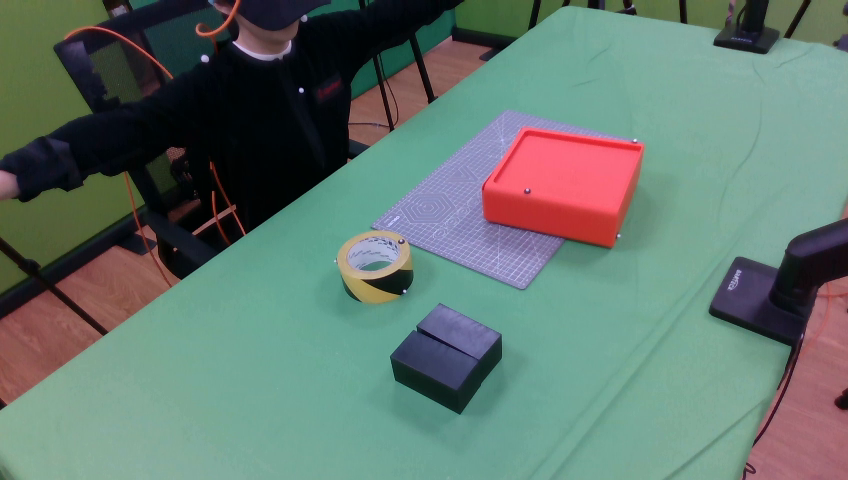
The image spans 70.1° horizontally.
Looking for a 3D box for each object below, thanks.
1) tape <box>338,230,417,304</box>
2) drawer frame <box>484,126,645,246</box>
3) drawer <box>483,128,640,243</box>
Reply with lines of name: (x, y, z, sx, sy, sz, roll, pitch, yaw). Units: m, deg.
tape: (-0.069, 0.041, 0.917, 0.117, 0.053, 0.116, -4, 41, 4)
drawer frame: (0.234, -0.096, 1.003, 0.212, 0.083, 0.202, 14, 44, 22)
drawer: (0.230, -0.096, 1.006, 0.210, 0.073, 0.194, 14, 44, 23)
